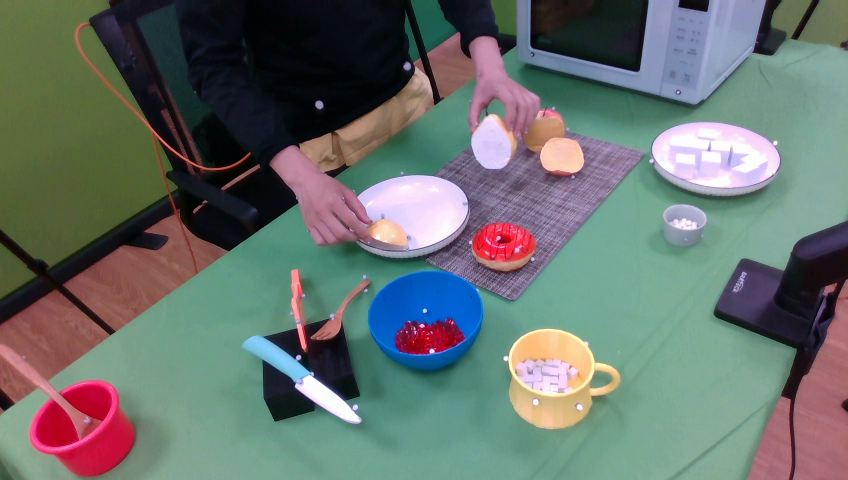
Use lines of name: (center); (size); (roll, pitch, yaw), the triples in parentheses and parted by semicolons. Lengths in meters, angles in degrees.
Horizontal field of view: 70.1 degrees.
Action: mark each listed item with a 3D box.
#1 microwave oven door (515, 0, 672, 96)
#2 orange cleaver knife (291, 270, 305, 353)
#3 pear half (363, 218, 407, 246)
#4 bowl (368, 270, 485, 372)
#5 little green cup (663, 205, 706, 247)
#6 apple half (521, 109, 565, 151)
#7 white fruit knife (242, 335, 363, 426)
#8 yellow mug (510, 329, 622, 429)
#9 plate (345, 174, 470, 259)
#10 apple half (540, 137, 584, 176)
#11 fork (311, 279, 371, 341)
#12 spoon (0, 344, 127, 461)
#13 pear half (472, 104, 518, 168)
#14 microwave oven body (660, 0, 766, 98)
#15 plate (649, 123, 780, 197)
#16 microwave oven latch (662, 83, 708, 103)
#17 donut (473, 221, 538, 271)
microwave oven door: (0.343, -0.455, 1.259); (0.353, 0.245, 0.039); (26, 51, 33)
orange cleaver knife: (-0.175, 0.094, 0.844); (0.012, 0.077, 0.210); (-11, 14, -10)
pear half: (-0.058, -0.017, 0.956); (0.071, 0.031, 0.087); (19, 16, -27)
bowl: (0.007, 0.118, 0.791); (0.151, 0.077, 0.150); (-5, 40, 4)
little green cup: (0.396, -0.021, 0.926); (0.061, 0.039, 0.061); (-4, 40, 4)
apple half: (0.224, -0.212, 1.145); (0.080, 0.075, 0.053); (-6, 36, 9)
white fruit knife: (-0.148, 0.167, 0.730); (0.206, 0.016, 0.027); (26, 79, 31)
yellow mug: (0.168, 0.164, 0.721); (0.130, 0.064, 0.099); (0, 40, 8)
plate: (-0.026, -0.037, 1.004); (0.209, 0.038, 0.208); (-4, 40, 4)
apple half: (0.247, -0.146, 1.089); (0.081, 0.033, 0.081); (-1, 65, 4)
fork: (-0.108, 0.092, 0.832); (0.028, 0.019, 0.207); (-6, 19, 15)
spoon: (-0.433, 0.191, 0.721); (0.194, 0.021, 0.042); (47, 53, -6)
pear half: (0.119, -0.180, 1.011); (0.076, 0.110, 0.056); (5, 37, 22)
microwave oven body: (0.472, -0.513, 1.317); (0.438, 0.261, 0.327); (26, 51, 34)
plate: (0.497, -0.135, 1.046); (0.207, 0.039, 0.206); (-4, 40, 4)
microwave oven latch: (0.517, -0.296, 1.204); (0.078, 0.029, 0.030); (27, 52, 35)
donut: (0.123, 0.008, 0.923); (0.099, 0.048, 0.098); (-3, 38, 3)
